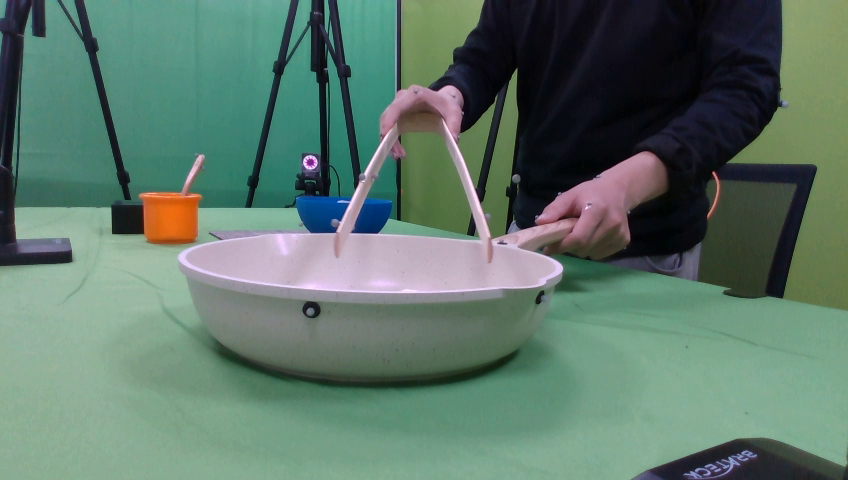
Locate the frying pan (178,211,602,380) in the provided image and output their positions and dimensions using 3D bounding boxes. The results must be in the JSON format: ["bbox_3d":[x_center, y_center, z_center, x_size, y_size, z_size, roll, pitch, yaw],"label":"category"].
[{"bbox_3d":[0.035,0.019,0.556,0.490,0.102,0.305,-16,18,-42],"label":"frying pan"}]

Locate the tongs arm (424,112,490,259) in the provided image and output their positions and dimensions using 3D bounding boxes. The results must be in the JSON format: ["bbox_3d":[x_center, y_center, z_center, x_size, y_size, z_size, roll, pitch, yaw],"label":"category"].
[{"bbox_3d":[0.031,-0.079,0.654,0.028,0.028,0.386,-6,27,-3],"label":"tongs arm"}]

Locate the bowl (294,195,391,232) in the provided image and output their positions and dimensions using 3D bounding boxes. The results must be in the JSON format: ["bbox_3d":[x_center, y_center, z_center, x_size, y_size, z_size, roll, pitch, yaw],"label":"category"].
[{"bbox_3d":[-0.127,-0.027,0.947,0.151,0.077,0.151,2,7,0],"label":"bowl"}]

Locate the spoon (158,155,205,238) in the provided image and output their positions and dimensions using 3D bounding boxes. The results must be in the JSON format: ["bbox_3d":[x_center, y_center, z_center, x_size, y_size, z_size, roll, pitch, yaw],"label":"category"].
[{"bbox_3d":[-0.392,-0.076,0.998,0.041,0.193,0.021,2,-36,5],"label":"spoon"}]

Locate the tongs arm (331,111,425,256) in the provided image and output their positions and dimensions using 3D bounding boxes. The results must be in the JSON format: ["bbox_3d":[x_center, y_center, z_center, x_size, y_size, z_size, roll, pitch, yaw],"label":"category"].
[{"bbox_3d":[-0.037,-0.080,0.654,0.051,0.026,0.384,1,26,4],"label":"tongs arm"}]
